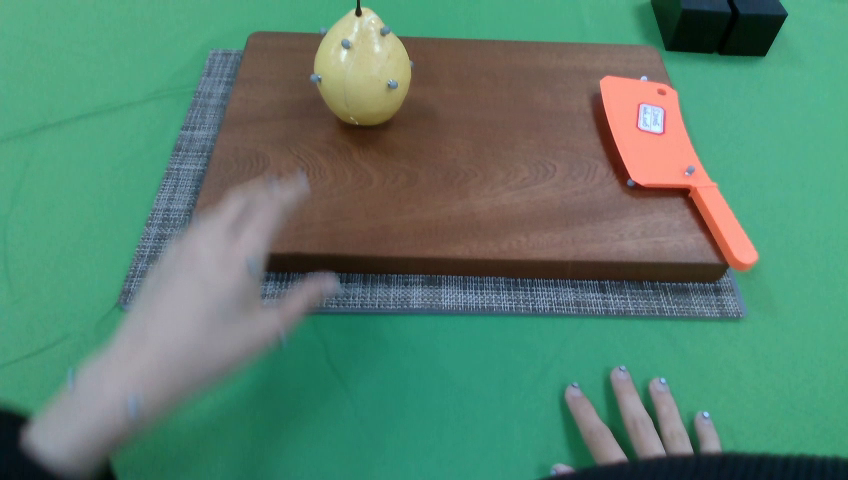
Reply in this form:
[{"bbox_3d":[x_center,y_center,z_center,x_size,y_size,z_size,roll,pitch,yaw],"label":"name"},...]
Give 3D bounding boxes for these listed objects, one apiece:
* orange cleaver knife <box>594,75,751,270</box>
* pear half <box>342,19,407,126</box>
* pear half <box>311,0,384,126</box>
[{"bbox_3d":[0.194,-0.064,0.490,0.077,0.012,0.209,-3,55,-9],"label":"orange cleaver knife"},{"bbox_3d":[-0.033,-0.129,0.484,0.031,0.089,0.070,24,50,17],"label":"pear half"},{"bbox_3d":[-0.062,-0.152,0.487,0.055,0.111,0.076,26,50,17],"label":"pear half"}]
